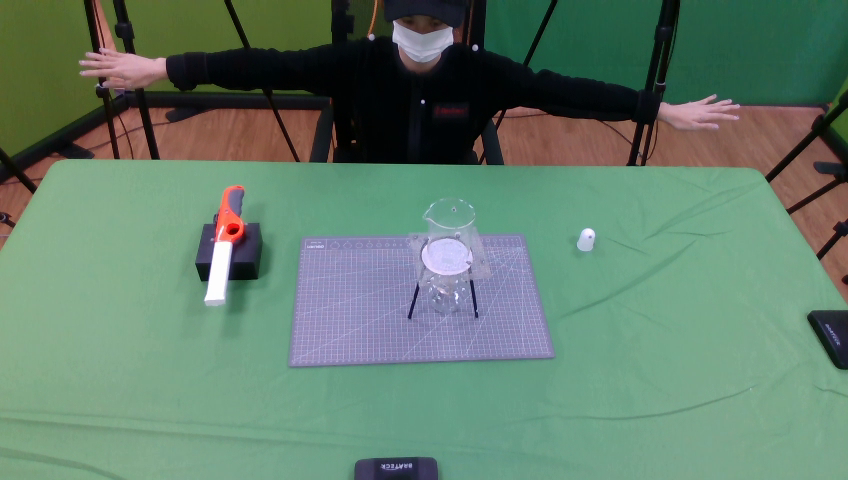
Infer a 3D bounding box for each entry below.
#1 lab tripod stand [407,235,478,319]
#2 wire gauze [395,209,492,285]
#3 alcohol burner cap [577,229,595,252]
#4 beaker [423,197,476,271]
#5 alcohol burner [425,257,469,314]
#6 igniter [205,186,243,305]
[{"bbox_3d":[0.032,0.065,1.057,0.148,0.132,0.147,1,45,-1],"label":"lab tripod stand"},{"bbox_3d":[0.031,0.011,0.995,0.125,0.011,0.120,-23,53,-19],"label":"wire gauze"},{"bbox_3d":[0.326,-0.002,1.213,0.034,0.048,0.033,1,47,-1],"label":"alcohol burner cap"},{"bbox_3d":[0.038,-0.007,0.967,0.084,0.101,0.073,-4,43,-7],"label":"beaker"},{"bbox_3d":[0.040,0.074,1.062,0.078,0.120,0.077,1,46,-1],"label":"alcohol burner"},{"bbox_3d":[-0.361,0.001,1.100,0.057,0.025,0.274,-2,49,-6],"label":"igniter"}]
